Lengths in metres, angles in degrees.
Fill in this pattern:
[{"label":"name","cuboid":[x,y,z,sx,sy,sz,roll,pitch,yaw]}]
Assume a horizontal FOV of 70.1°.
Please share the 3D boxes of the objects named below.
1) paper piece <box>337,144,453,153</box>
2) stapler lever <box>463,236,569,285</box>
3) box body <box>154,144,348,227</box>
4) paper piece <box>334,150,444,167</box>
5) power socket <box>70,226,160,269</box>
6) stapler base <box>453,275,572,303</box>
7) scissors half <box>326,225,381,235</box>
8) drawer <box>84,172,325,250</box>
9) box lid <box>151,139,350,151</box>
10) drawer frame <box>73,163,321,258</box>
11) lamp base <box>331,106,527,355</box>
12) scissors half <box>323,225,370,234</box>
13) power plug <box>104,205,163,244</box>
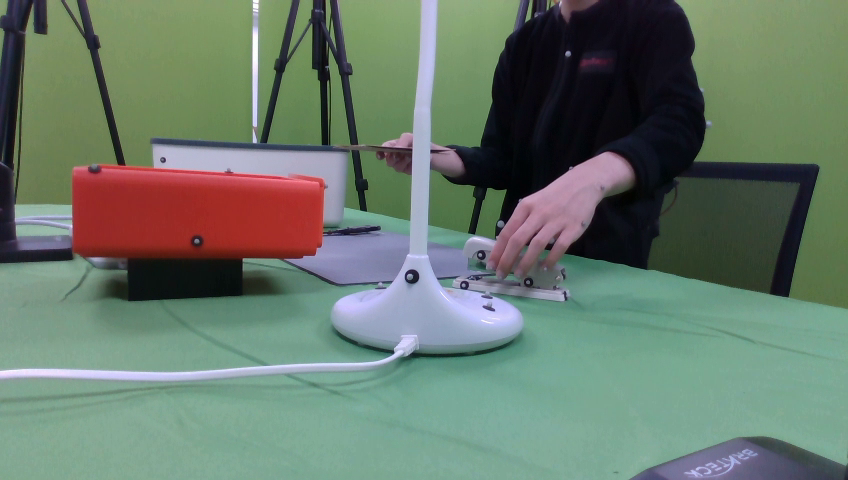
[{"label":"paper piece","cuboid":[-0.045,-0.134,0.882,0.139,0.008,0.135,0,9,-28]},{"label":"stapler lever","cuboid":[0.100,0.022,0.666,0.117,0.040,0.027,8,11,23]},{"label":"box body","cuboid":[-0.357,-0.119,1.264,0.365,0.160,0.253,0,7,-18]},{"label":"paper piece","cuboid":[-0.054,-0.121,0.885,0.136,0.004,0.135,2,14,-21]},{"label":"power socket","cuboid":[-0.409,0.004,0.793,0.072,0.032,0.225,-2,8,-38]},{"label":"stapler base","cuboid":[0.097,0.047,0.670,0.130,0.024,0.041,7,11,23]},{"label":"scissors half","cuboid":[-0.152,-0.014,1.079,0.176,0.013,0.040,-7,2,-33]},{"label":"drawer","cuboid":[-0.227,-0.036,0.638,0.213,0.073,0.193,-1,9,-23]},{"label":"box lid","cuboid":[-0.352,-0.191,1.256,0.373,0.015,0.262,0,8,-18]},{"label":"drawer frame","cuboid":[-0.232,-0.034,0.635,0.214,0.082,0.201,1,8,-23]},{"label":"lamp base","cuboid":[0.006,-0.012,0.478,0.161,0.180,0.179,2,10,2]},{"label":"scissors half","cuboid":[-0.166,-0.015,1.094,0.040,0.013,0.176,2,7,39]},{"label":"power plug","cuboid":[-0.390,-0.021,0.815,0.073,0.052,0.035,-1,7,-27]}]
